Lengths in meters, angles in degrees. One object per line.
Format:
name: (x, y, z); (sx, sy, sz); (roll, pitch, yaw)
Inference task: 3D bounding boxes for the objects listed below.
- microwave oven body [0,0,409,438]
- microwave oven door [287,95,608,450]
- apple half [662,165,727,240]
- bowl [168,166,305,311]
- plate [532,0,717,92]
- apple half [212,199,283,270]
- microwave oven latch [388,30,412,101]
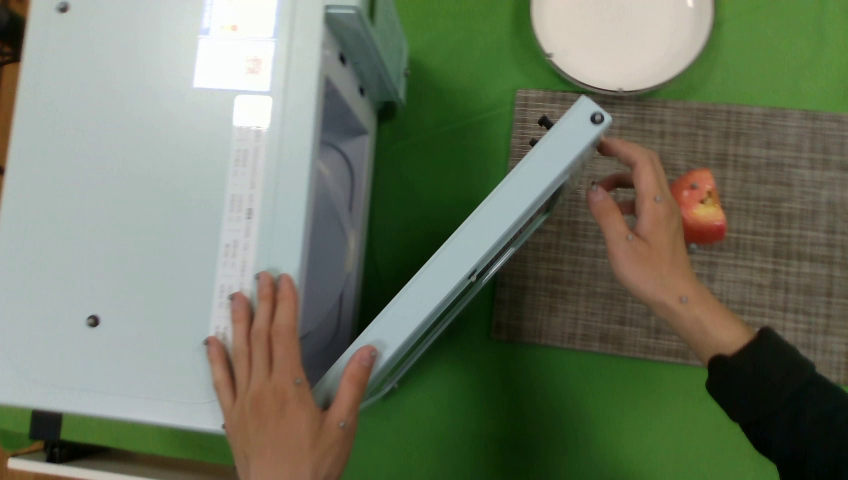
microwave oven body: (-0.206, -0.056, 0.626); (0.325, 0.261, 0.440); (5, 85, 7)
microwave oven door: (0.030, 0.037, 0.583); (0.039, 0.245, 0.355); (41, 90, 10)
apple half: (0.288, -0.036, 0.660); (0.053, 0.075, 0.080); (-14, 86, 9)
bowl: (-0.189, -0.002, 0.659); (0.151, 0.077, 0.151); (1, 93, 14)
plate: (0.231, -0.271, 0.714); (0.207, 0.039, 0.207); (-1, 84, 6)
apple half: (-0.191, -0.004, 0.648); (0.081, 0.032, 0.081); (0, 95, -2)
microwave oven latch: (-0.031, -0.208, 0.720); (0.030, 0.029, 0.079); (5, 85, 7)
